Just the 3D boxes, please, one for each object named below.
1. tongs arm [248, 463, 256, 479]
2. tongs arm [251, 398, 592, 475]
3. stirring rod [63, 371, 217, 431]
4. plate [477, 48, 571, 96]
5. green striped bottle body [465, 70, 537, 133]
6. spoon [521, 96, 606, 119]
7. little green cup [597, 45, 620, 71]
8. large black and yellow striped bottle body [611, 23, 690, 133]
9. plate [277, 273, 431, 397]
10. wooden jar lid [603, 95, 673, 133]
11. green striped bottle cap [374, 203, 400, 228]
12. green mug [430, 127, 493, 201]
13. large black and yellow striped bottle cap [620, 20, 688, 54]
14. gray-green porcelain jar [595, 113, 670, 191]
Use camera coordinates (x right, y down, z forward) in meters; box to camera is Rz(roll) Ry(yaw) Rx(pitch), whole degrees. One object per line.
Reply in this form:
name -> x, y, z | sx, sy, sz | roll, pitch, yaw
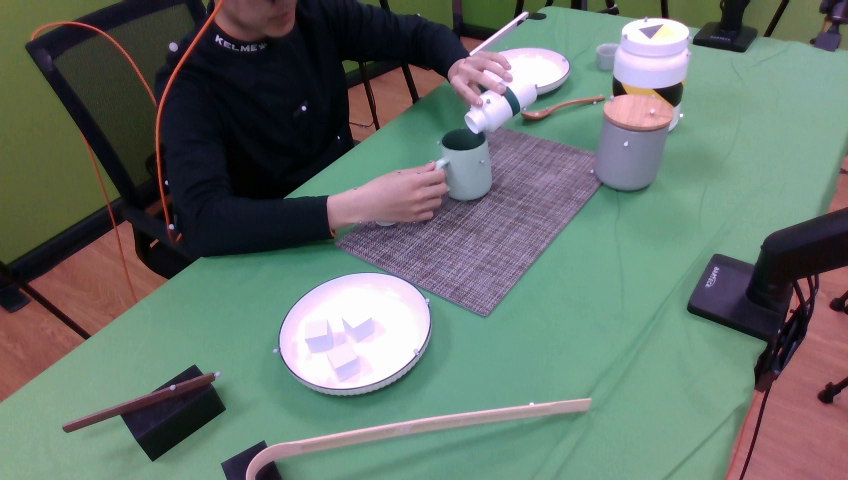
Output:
tongs arm -> 0.012, 0.262, 0.615 | 0.385, 0.026, 0.050 | 2, 41, -2
tongs arm -> 0.008, 0.213, 0.675 | 0.389, 0.028, 0.028 | -5, 46, -11
stirring rod -> -0.337, 0.192, 0.723 | 0.177, 0.014, 0.005 | -18, 43, -12
plate -> 0.223, -0.371, 1.357 | 0.209, 0.038, 0.208 | -4, 41, 4
green striped bottle body -> 0.126, -0.229, 1.020 | 0.119, 0.063, 0.062 | -37, 46, -9
spoon -> 0.291, -0.277, 1.249 | 0.194, 0.022, 0.041 | -18, 22, -11
little green cup -> 0.423, -0.413, 1.376 | 0.061, 0.039, 0.061 | -4, 41, 4
large black and yellow striped bottle body -> 0.420, -0.299, 1.132 | 0.131, 0.185, 0.130 | -5, 41, 4
plate -> -0.091, 0.129, 0.821 | 0.207, 0.039, 0.206 | -4, 40, 4
wooden jar lid -> 0.343, -0.200, 0.974 | 0.108, 0.021, 0.108 | -2, 39, 2
green striped bottle cap -> -0.063, -0.042, 1.030 | 0.044, 0.020, 0.044 | -2, 45, 2
green mug -> 0.059, -0.122, 1.034 | 0.126, 0.105, 0.092 | -35, 48, -28
large black and yellow striped bottle cap -> 0.411, -0.363, 1.080 | 0.115, 0.019, 0.114 | -3, 42, 4
gray-green porcelain jar -> 0.346, -0.155, 1.017 | 0.106, 0.127, 0.105 | -2, 44, 2
